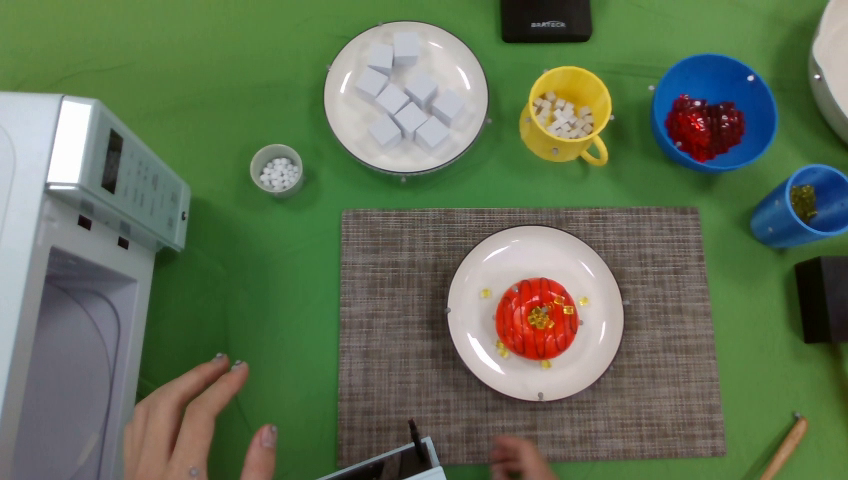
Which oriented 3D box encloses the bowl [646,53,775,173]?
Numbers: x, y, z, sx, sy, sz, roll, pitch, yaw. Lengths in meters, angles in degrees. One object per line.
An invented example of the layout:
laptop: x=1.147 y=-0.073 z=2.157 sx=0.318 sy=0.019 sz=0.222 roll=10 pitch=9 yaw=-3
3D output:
bowl: x=0.342 y=-0.145 z=0.756 sx=0.151 sy=0.077 sz=0.150 roll=0 pitch=77 yaw=-2

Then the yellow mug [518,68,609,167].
yellow mug: x=0.182 y=-0.143 z=0.756 sx=0.100 sy=0.064 sz=0.130 roll=-37 pitch=82 yaw=-9

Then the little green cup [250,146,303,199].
little green cup: x=-0.178 y=-0.080 z=0.742 sx=0.061 sy=0.039 sz=0.061 roll=0 pitch=78 yaw=-2

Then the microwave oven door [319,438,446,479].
microwave oven door: x=-0.150 y=0.265 z=0.543 sx=0.356 sy=0.245 sz=0.039 roll=-19 pitch=77 yaw=-6

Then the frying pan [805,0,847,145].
frying pan: x=0.625 y=-0.122 z=0.747 sx=0.307 sy=0.103 sz=0.484 roll=4 pitch=69 yaw=0

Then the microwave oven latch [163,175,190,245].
microwave oven latch: x=-0.294 y=-0.035 z=0.710 sx=0.030 sy=0.029 sz=0.079 roll=4 pitch=78 yaw=-2

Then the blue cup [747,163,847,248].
blue cup: x=0.440 y=-0.032 z=0.721 sx=0.093 sy=0.100 sz=0.092 roll=1 pitch=75 yaw=-2

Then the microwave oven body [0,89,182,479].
microwave oven body: x=-0.447 y=0.108 z=0.573 sx=0.326 sy=0.261 sz=0.439 roll=3 pitch=78 yaw=-2

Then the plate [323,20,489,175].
plate: x=-0.022 y=-0.178 z=0.771 sx=0.208 sy=0.039 sz=0.206 roll=0 pitch=77 yaw=-2

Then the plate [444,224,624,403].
plate: x=0.126 y=0.085 z=0.713 sx=0.209 sy=0.038 sz=0.208 roll=0 pitch=78 yaw=-2

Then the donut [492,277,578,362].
donut: x=0.128 y=0.091 z=0.700 sx=0.099 sy=0.048 sz=0.098 roll=0 pitch=80 yaw=-2

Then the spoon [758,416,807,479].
spoon: x=0.384 y=0.275 z=0.690 sx=0.041 sy=0.022 sz=0.193 roll=41 pitch=79 yaw=20
